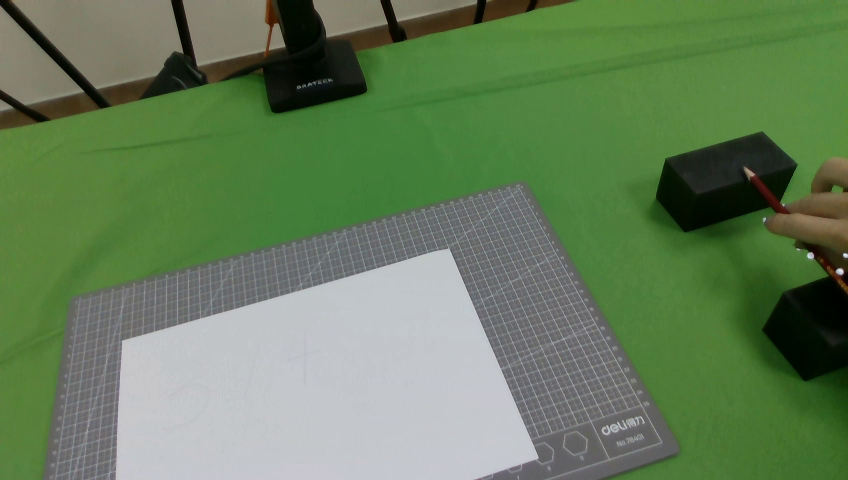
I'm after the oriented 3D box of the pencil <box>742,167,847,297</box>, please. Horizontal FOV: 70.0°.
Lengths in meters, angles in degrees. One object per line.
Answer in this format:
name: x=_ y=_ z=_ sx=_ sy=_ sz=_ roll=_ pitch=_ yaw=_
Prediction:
pencil: x=0.297 y=0.004 z=0.464 sx=0.012 sy=0.012 sz=0.192 roll=-12 pitch=47 yaw=-3
